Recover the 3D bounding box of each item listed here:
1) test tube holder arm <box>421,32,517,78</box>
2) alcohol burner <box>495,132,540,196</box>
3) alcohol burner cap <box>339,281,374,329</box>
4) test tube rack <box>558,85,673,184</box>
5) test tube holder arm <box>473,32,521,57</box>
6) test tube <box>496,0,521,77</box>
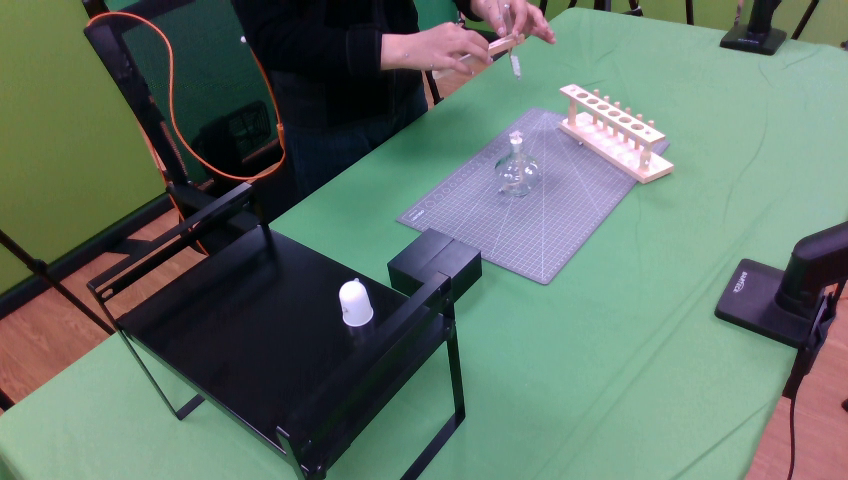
[{"bbox_3d":[0.080,-0.311,1.020,0.178,0.015,0.013,-23,4,-2],"label":"test tube holder arm"},{"bbox_3d":[0.160,-0.135,1.035,0.078,0.119,0.077,-5,42,5],"label":"alcohol burner"},{"bbox_3d":[-0.071,0.063,0.617,0.034,0.048,0.033,-5,39,4],"label":"alcohol burner cap"},{"bbox_3d":[0.347,-0.203,1.109,0.067,0.085,0.240,-22,42,-17],"label":"test tube rack"},{"bbox_3d":[0.122,-0.329,1.018,0.088,0.015,0.010,-23,4,-9],"label":"test tube holder arm"},{"bbox_3d":[0.143,-0.341,1.018,0.017,0.151,0.017,-12,42,12],"label":"test tube"}]
